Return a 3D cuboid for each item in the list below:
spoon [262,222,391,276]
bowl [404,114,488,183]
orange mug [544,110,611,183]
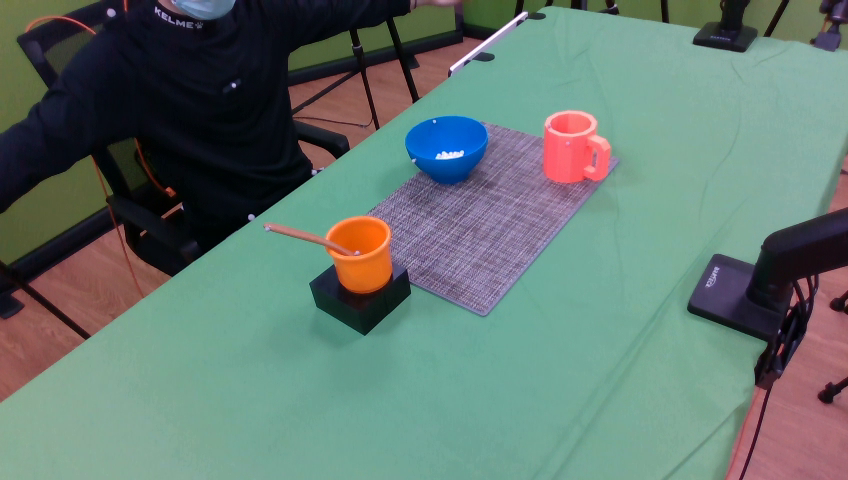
[{"bbox_3d":[-0.124,0.010,0.800,0.021,0.195,0.041,-45,40,24],"label":"spoon"},{"bbox_3d":[0.043,-0.156,1.095,0.151,0.077,0.150,-4,41,4],"label":"bowl"},{"bbox_3d":[0.266,-0.157,1.049,0.084,0.101,0.125,-33,42,-26],"label":"orange mug"}]
